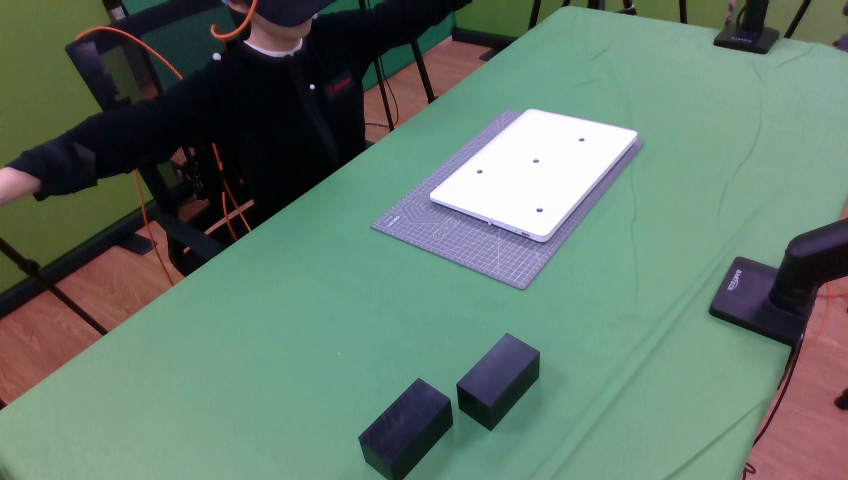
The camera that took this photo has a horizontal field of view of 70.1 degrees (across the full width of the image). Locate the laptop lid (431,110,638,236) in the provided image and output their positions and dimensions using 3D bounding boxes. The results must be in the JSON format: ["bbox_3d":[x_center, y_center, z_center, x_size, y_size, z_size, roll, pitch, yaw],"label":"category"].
[{"bbox_3d":[0.205,-0.138,1.092,0.239,0.013,0.358,23,49,34],"label":"laptop lid"}]

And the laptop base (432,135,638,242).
[{"bbox_3d":[0.208,-0.128,1.098,0.233,0.023,0.355,20,47,33],"label":"laptop base"}]
